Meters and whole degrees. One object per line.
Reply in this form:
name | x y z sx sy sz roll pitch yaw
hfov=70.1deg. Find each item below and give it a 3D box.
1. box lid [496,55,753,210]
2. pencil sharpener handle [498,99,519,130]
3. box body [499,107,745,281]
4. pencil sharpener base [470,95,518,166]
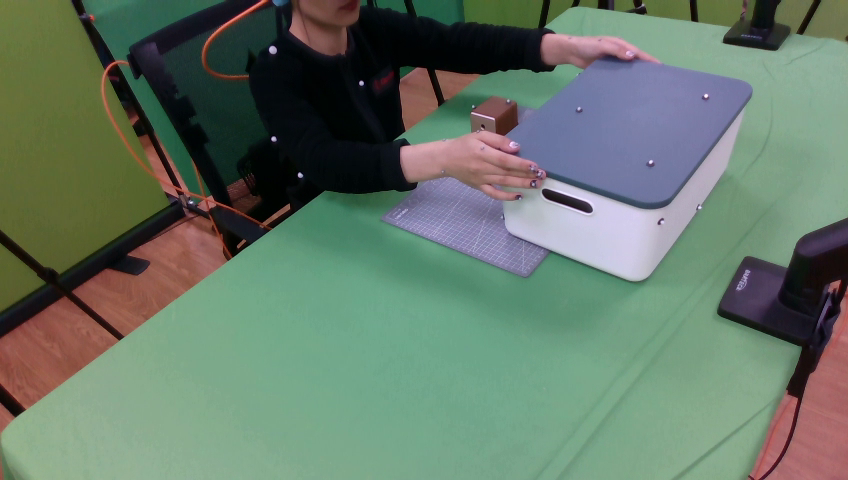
box lid | 0.308 -0.181 0.911 0.261 0.015 0.372 24 50 31
pencil sharpener handle | 0.165 -0.243 1.148 0.035 0.068 0.031 21 49 35
box body | 0.315 -0.124 0.958 0.252 0.161 0.365 24 50 32
pencil sharpener base | 0.134 -0.205 1.128 0.061 0.107 0.077 23 50 33
